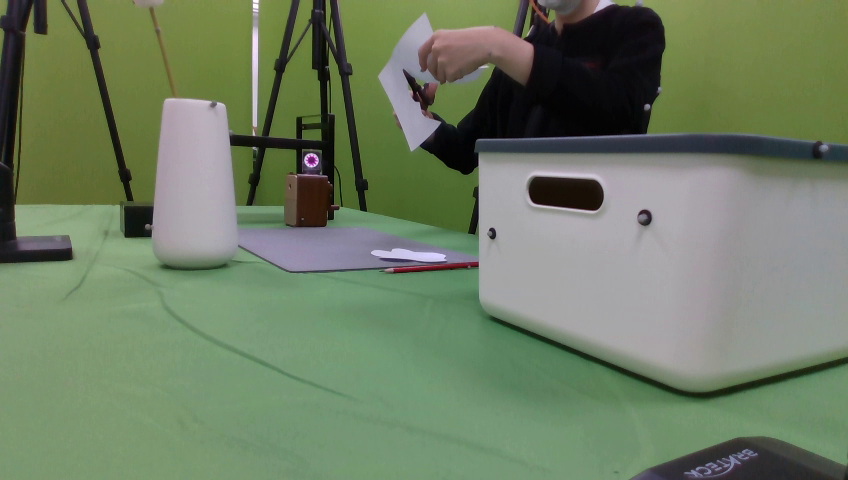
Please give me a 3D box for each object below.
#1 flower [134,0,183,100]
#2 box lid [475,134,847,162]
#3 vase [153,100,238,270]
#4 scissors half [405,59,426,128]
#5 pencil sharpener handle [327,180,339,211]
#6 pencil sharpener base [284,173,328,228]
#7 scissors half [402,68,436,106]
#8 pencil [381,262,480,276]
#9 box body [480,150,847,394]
[{"bbox_3d":[-0.282,-0.147,0.713,0.038,0.362,0.044,-23,24,-31],"label":"flower"},{"bbox_3d":[0.256,-0.073,0.528,0.373,0.015,0.262,-2,8,-31],"label":"box lid"},{"bbox_3d":[-0.278,-0.066,0.736,0.098,0.200,0.098,2,9,0],"label":"vase"},{"bbox_3d":[-0.018,-0.260,1.086,0.012,0.040,0.175,22,-25,19],"label":"scissors half"},{"bbox_3d":[-0.194,-0.094,1.256,0.031,0.067,0.036,-2,-6,-36],"label":"pencil sharpener handle"},{"bbox_3d":[-0.239,-0.081,1.231,0.077,0.107,0.061,-2,8,-36],"label":"pencil sharpener base"},{"bbox_3d":[-0.009,-0.280,1.091,0.013,0.040,0.176,17,3,18],"label":"scissors half"},{"bbox_3d":[0.030,0.037,0.794,0.195,0.012,0.012,-4,10,-31],"label":"pencil"},{"bbox_3d":[0.254,0.001,0.539,0.366,0.160,0.253,-2,9,-31],"label":"box body"}]
